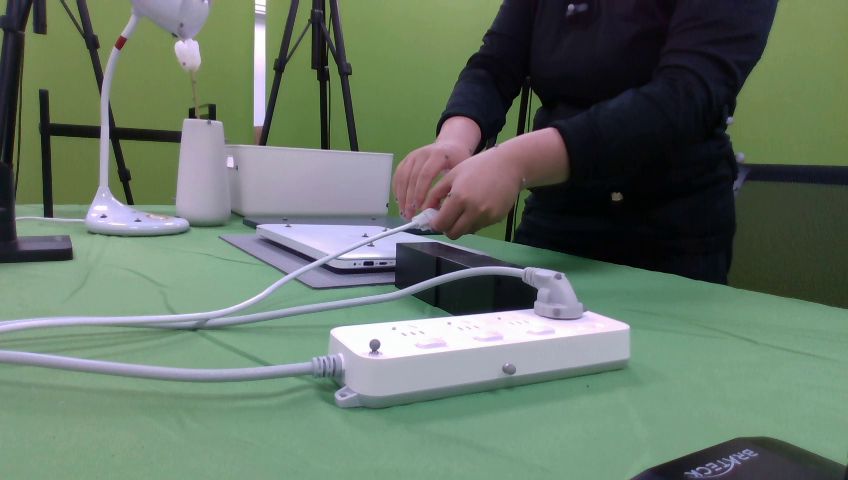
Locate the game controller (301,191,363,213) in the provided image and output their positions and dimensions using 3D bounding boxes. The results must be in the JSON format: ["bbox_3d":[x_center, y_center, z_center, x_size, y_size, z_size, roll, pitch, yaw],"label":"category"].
[{"bbox_3d":[-0.240,-0.098,1.550,0.155,0.051,0.097,3,9,5],"label":"game controller"}]

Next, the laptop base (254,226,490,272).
[{"bbox_3d":[-0.096,0.012,0.912,0.237,0.023,0.352,2,7,-32],"label":"laptop base"}]

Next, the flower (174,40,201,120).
[{"bbox_3d":[-0.430,-0.211,1.166,0.044,0.361,0.038,-10,-5,-23],"label":"flower"}]

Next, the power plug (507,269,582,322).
[{"bbox_3d":[0.093,0.051,0.470,0.035,0.052,0.072,0,6,-16],"label":"power plug"}]

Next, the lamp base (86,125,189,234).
[{"bbox_3d":[-0.497,-0.105,1.027,0.179,0.180,0.160,1,7,3],"label":"lamp base"}]

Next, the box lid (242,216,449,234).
[{"bbox_3d":[-0.162,-0.030,1.233,0.373,0.015,0.262,-1,8,-32],"label":"box lid"}]

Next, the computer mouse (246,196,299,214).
[{"bbox_3d":[-0.354,-0.083,1.418,0.117,0.041,0.063,0,10,7],"label":"computer mouse"}]

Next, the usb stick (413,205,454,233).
[{"bbox_3d":[0.015,-0.028,0.758,0.027,0.021,0.059,-40,-13,38],"label":"usb stick"}]

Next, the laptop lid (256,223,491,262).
[{"bbox_3d":[-0.092,0.000,0.912,0.243,0.013,0.355,1,7,-30],"label":"laptop lid"}]

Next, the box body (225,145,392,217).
[{"bbox_3d":[-0.289,-0.143,1.475,0.366,0.160,0.253,-1,9,-29],"label":"box body"}]

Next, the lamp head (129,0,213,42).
[{"bbox_3d":[-0.423,-0.394,0.980,0.123,0.112,0.112,20,7,-3],"label":"lamp head"}]

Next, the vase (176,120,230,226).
[{"bbox_3d":[-0.424,-0.128,1.159,0.098,0.200,0.098,2,9,0],"label":"vase"}]

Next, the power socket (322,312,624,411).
[{"bbox_3d":[0.039,0.075,0.410,0.228,0.032,0.072,-1,8,-28],"label":"power socket"}]
